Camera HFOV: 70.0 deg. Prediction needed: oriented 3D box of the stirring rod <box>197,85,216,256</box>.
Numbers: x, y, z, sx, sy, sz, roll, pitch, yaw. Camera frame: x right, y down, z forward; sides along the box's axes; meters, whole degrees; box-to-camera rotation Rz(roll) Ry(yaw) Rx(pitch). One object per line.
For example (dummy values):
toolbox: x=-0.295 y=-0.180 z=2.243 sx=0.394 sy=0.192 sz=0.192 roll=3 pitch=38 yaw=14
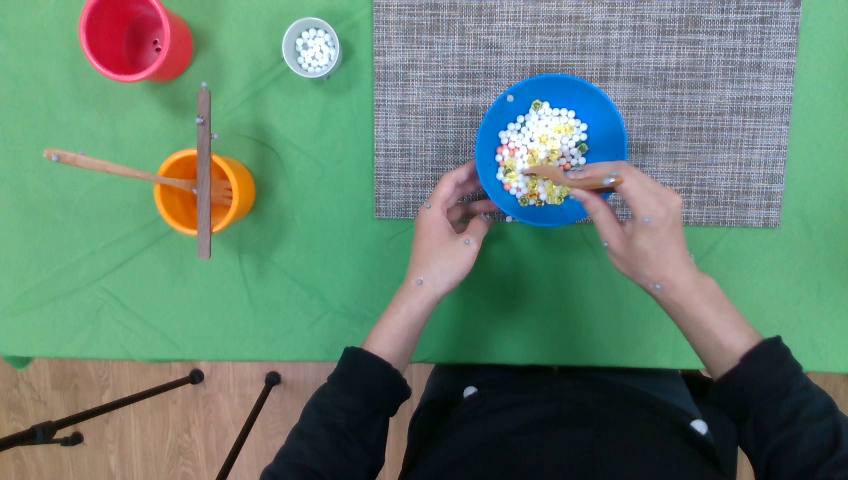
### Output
stirring rod: x=-0.226 y=-0.070 z=0.629 sx=0.014 sy=0.006 sz=0.176 roll=3 pitch=100 yaw=5

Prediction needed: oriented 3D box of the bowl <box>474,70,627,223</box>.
bowl: x=0.127 y=-0.096 z=0.634 sx=0.151 sy=0.076 sz=0.151 roll=1 pitch=99 yaw=4

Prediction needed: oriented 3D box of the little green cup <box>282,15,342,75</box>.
little green cup: x=-0.119 y=-0.209 z=0.657 sx=0.061 sy=0.038 sz=0.061 roll=1 pitch=100 yaw=5

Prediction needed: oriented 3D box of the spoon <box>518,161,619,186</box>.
spoon: x=0.132 y=-0.059 z=0.558 sx=0.042 sy=0.192 sz=0.022 roll=4 pitch=100 yaw=-11

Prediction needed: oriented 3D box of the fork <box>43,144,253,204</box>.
fork: x=-0.279 y=-0.069 z=0.635 sx=0.209 sy=0.018 sz=0.028 roll=12 pitch=106 yaw=-42
